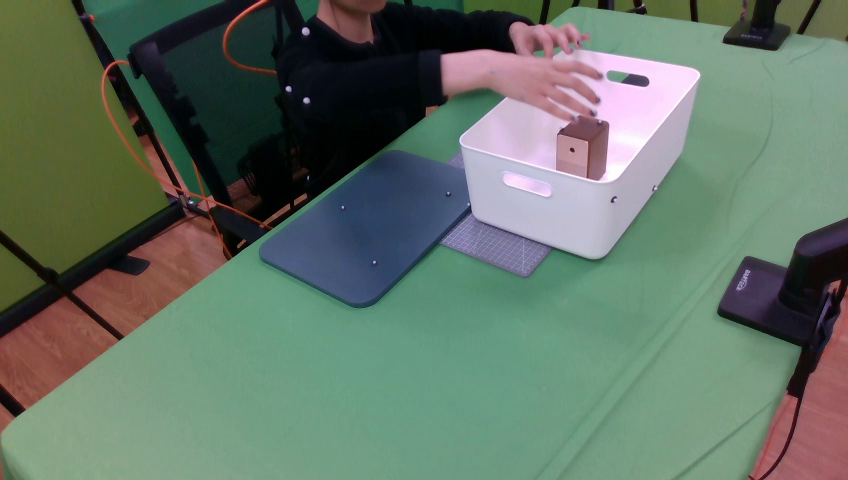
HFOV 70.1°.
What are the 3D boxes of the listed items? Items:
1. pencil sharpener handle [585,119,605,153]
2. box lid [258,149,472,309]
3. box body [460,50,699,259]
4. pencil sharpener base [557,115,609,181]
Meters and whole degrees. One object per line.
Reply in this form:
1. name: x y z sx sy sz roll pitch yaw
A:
1. pencil sharpener handle: 0.301 -0.184 1.044 0.035 0.068 0.031 20 48 35
2. box lid: -0.078 -0.040 1.052 0.261 0.015 0.372 22 49 32
3. box body: 0.261 -0.153 1.001 0.252 0.161 0.365 21 48 31
4. pencil sharpener base: 0.270 -0.147 1.024 0.061 0.107 0.077 22 49 33
